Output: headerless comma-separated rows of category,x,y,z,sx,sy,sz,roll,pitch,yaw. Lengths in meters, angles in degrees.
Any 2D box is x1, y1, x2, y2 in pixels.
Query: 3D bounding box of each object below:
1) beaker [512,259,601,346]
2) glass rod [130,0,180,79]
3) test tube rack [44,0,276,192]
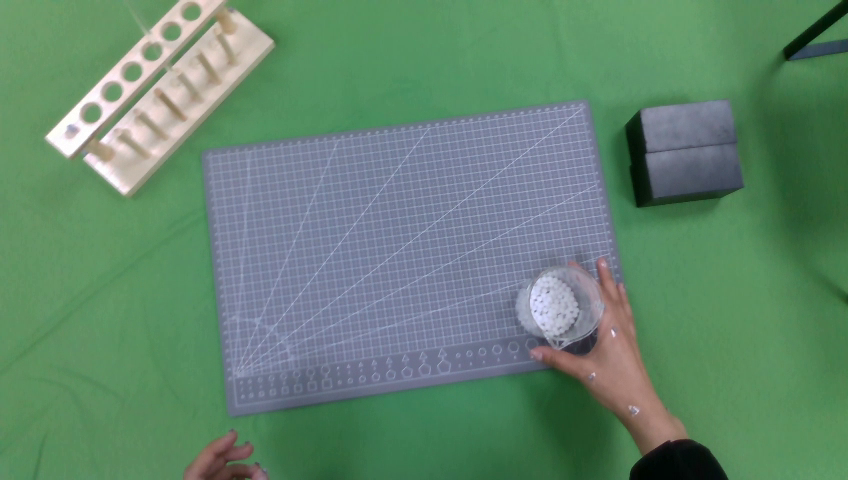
beaker,0.132,0.066,0.625,0.074,0.100,0.083,10,82,1
glass rod,-0.273,-0.215,0.598,0.008,0.200,0.008,1,74,-4
test tube rack,-0.277,-0.170,0.657,0.066,0.085,0.242,40,83,5
